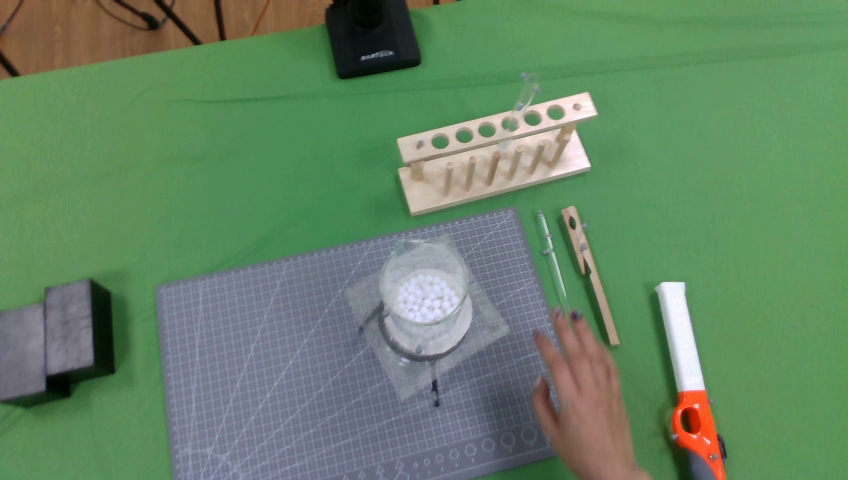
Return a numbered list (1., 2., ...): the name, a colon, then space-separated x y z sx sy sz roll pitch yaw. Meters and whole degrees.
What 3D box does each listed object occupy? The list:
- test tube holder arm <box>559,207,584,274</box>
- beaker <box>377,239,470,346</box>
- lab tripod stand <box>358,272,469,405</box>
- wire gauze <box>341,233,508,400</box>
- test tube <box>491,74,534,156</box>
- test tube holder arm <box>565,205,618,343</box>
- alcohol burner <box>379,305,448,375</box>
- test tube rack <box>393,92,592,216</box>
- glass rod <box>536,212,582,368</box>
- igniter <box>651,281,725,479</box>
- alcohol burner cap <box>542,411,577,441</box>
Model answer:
1. test tube holder arm: 0.187 0.000 0.754 0.010 0.015 0.087 -24 69 25
2. beaker: -0.002 0.050 0.541 0.074 0.101 0.083 -28 71 -9
3. lab tripod stand: -0.006 0.097 0.646 0.148 0.132 0.147 0 69 0
4. wire gauze: 0.000 0.069 0.585 0.121 0.011 0.124 -29 73 -9
5. test tube: 0.103 -0.143 0.718 0.017 0.151 0.017 3 66 -6
6. test tube holder arm: 0.202 0.039 0.737 0.013 0.015 0.177 -24 69 24
7. alcohol burner: -0.011 0.103 0.654 0.078 0.120 0.077 0 67 0
8. test tube rack: 0.088 -0.106 0.756 0.242 0.086 0.066 -15 69 -7
9. glass rod: 0.163 0.057 0.736 0.008 0.008 0.198 -10 72 -6
10. igniter: 0.298 0.179 0.682 0.057 0.025 0.274 1 68 -12
11. alcohol burner cap: 0.149 0.200 0.658 0.034 0.048 0.033 1 68 -2
